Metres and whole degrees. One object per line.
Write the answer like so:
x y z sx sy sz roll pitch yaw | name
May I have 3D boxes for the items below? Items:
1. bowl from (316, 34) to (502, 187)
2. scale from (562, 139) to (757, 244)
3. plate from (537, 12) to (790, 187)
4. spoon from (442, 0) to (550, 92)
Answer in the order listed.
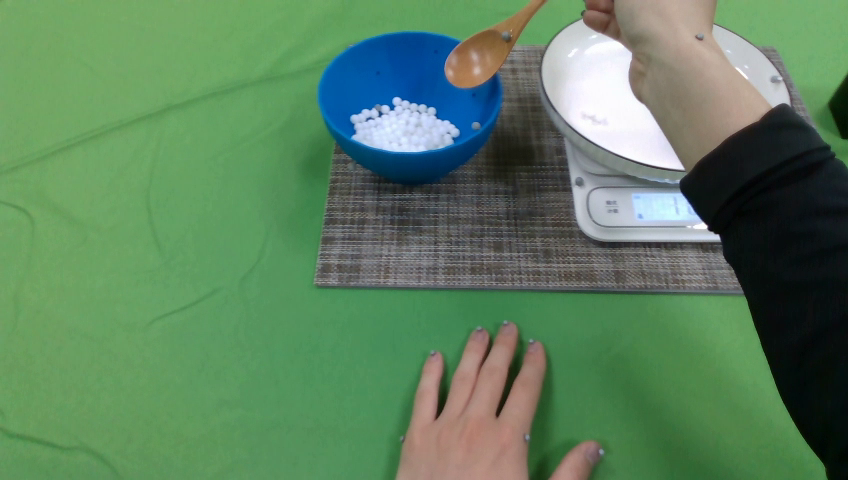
-0.011 -0.098 0.519 0.151 0.077 0.150 0 54 1 | bowl
0.198 -0.083 0.536 0.149 0.032 0.199 0 54 1 | scale
0.199 -0.121 0.523 0.209 0.038 0.207 0 54 0 | plate
0.089 -0.176 0.448 0.022 0.194 0.041 3 57 -54 | spoon
